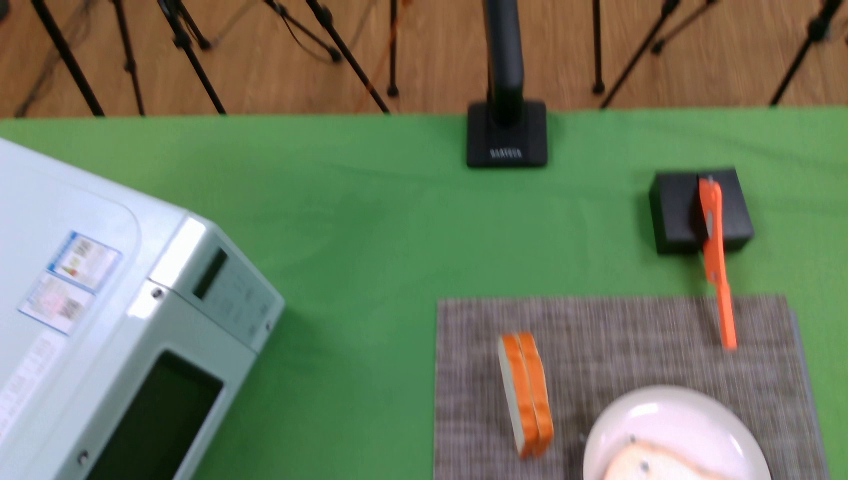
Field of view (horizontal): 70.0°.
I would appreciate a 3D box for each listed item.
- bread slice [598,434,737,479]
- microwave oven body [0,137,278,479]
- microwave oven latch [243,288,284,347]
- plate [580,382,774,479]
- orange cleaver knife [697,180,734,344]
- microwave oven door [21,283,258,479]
[{"bbox_3d":[0.264,0.283,0.675,0.133,0.018,0.106,21,66,18],"label":"bread slice"},{"bbox_3d":[-0.430,0.159,0.685,0.325,0.262,0.439,20,70,14],"label":"microwave oven body"},{"bbox_3d":[-0.214,0.099,0.798,0.030,0.030,0.079,21,70,14],"label":"microwave oven latch"},{"bbox_3d":[0.280,0.267,0.684,0.207,0.039,0.206,-2,65,5],"label":"plate"},{"bbox_3d":[0.366,0.024,0.766,0.012,0.077,0.211,-5,86,6],"label":"orange cleaver knife"},{"bbox_3d":[-0.314,0.240,0.630,0.039,0.246,0.354,19,69,15],"label":"microwave oven door"}]
